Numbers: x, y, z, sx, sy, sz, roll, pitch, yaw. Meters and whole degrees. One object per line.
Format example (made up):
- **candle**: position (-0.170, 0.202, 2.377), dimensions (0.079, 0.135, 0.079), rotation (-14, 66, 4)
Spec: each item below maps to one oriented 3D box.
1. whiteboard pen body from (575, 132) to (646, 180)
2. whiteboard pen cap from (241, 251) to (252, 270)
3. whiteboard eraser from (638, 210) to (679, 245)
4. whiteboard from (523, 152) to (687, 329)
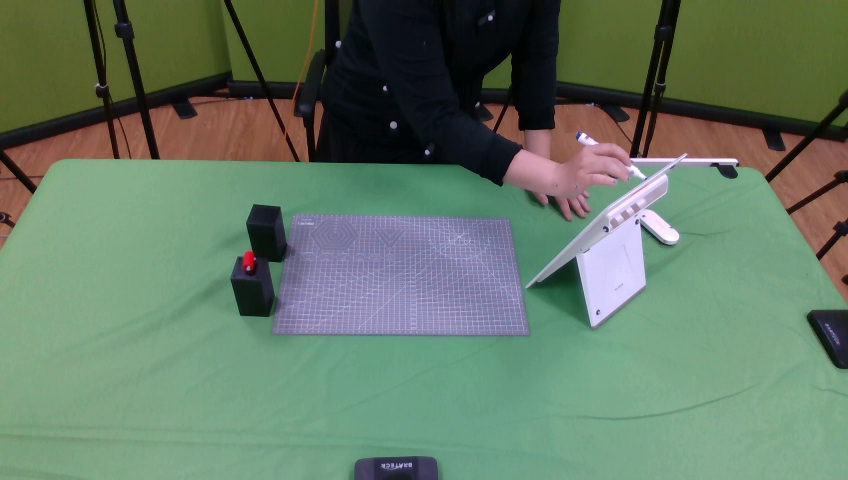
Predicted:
- **whiteboard pen body**: position (0.312, -0.137, 1.003), dimensions (0.140, 0.017, 0.017), rotation (36, 52, 10)
- **whiteboard pen cap**: position (-0.293, 0.033, 1.006), dimensions (0.017, 0.017, 0.032), rotation (-3, 44, -7)
- **whiteboard eraser**: position (0.486, -0.026, 1.260), dimensions (0.041, 0.019, 0.100), rotation (-20, 50, -20)
- **whiteboard**: position (0.347, 0.025, 1.046), dimensions (0.217, 0.306, 0.143), rotation (-30, 74, -29)
